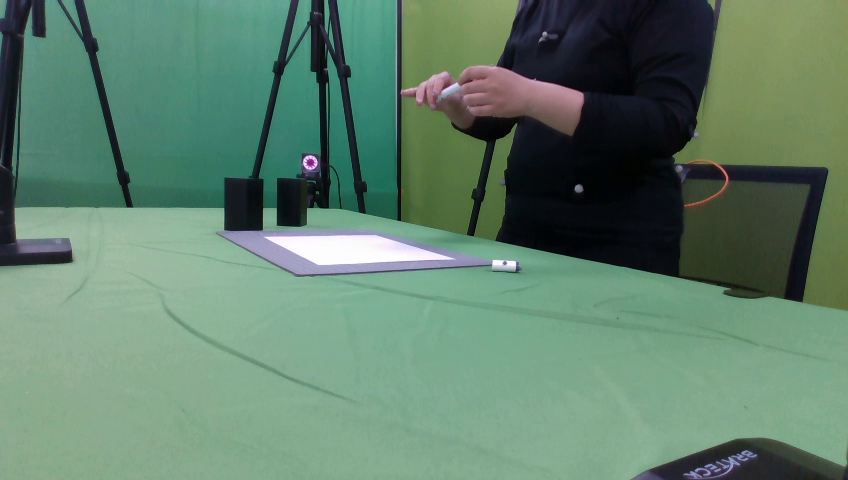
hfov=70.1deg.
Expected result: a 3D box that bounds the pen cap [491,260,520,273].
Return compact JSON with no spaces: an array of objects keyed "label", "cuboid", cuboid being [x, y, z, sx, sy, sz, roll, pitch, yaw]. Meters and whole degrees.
[{"label":"pen cap","cuboid":[0.110,0.036,0.813,0.038,0.017,0.017,3,7,7]}]

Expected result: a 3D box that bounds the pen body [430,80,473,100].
[{"label":"pen body","cuboid":[0.051,-0.273,1.096,0.017,0.017,0.143,-1,1,-27]}]
